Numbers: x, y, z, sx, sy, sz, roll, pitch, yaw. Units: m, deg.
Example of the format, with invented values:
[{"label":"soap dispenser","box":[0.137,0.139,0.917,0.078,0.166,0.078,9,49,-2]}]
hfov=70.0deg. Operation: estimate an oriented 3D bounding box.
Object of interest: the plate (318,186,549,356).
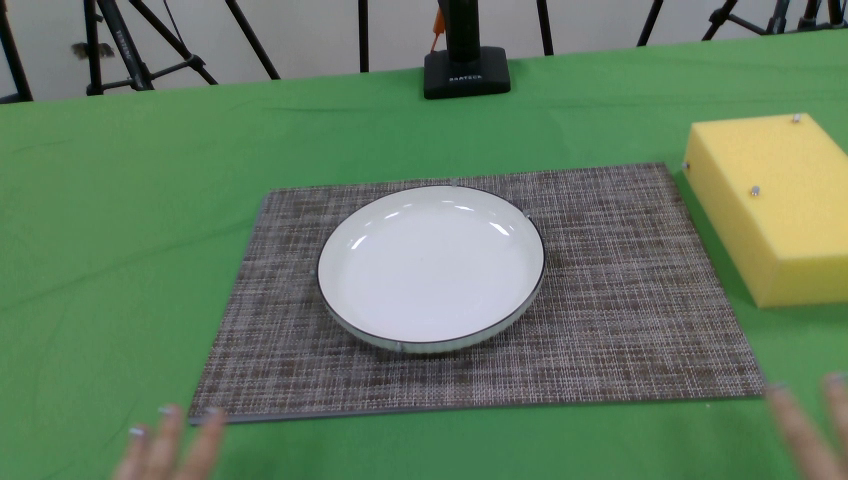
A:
[{"label":"plate","box":[0.009,0.027,0.557,0.207,0.039,0.205,-4,41,4]}]

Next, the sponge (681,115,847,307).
[{"label":"sponge","box":[0.337,-0.035,0.565,0.118,0.061,0.204,-5,41,3]}]
